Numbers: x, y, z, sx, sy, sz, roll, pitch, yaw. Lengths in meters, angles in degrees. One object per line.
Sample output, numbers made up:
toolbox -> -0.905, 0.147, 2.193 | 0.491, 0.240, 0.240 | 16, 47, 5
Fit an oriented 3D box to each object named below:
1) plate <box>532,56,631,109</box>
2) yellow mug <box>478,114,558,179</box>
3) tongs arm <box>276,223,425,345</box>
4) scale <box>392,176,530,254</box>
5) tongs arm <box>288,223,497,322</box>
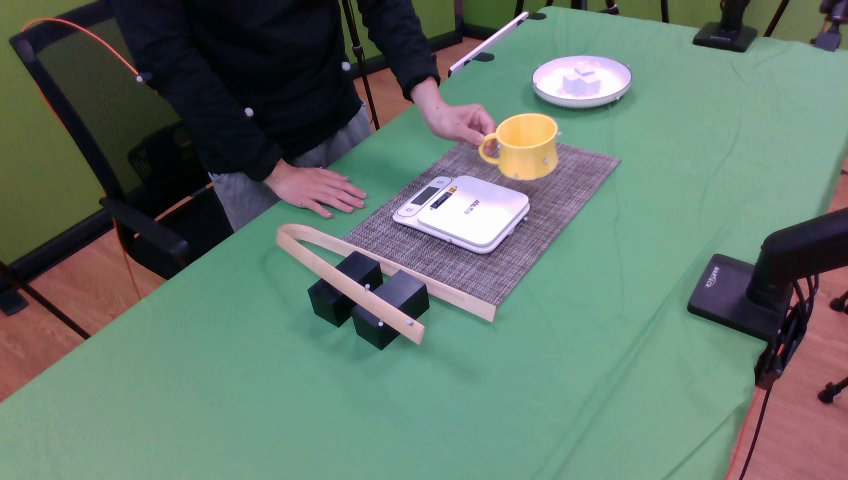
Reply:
plate -> 0.336, -0.335, 1.301 | 0.207, 0.039, 0.206 | -4, 41, 4
yellow mug -> 0.154, -0.154, 0.999 | 0.130, 0.064, 0.099 | -2, 43, 12
tongs arm -> -0.114, 0.049, 0.856 | 0.051, 0.026, 0.381 | -7, 24, -43
scale -> 0.060, -0.050, 1.006 | 0.199, 0.032, 0.149 | 22, 48, 30
tongs arm -> -0.060, 0.043, 0.918 | 0.384, 0.028, 0.028 | 21, 24, 29
